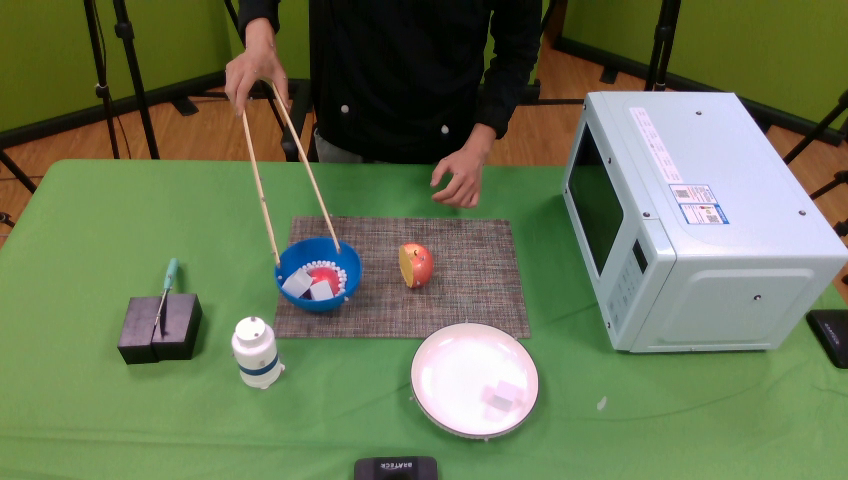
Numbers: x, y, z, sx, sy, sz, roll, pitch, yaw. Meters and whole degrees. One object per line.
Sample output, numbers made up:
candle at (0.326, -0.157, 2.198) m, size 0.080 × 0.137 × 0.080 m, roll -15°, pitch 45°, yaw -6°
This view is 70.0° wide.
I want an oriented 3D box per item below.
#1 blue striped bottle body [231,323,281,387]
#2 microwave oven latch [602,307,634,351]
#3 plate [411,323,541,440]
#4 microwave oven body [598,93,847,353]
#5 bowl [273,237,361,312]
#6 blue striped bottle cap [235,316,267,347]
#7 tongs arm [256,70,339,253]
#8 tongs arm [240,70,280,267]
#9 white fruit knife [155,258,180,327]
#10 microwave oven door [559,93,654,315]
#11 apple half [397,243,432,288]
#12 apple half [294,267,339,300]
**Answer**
blue striped bottle body at (-0.262, 0.171, 0.944) m, size 0.063 × 0.121 × 0.062 m, roll 2°, pitch 46°, yaw -2°
microwave oven latch at (0.332, 0.153, 1.043) m, size 0.030 × 0.029 × 0.078 m, roll -1°, pitch 45°, yaw -4°
plate at (0.082, 0.228, 0.976) m, size 0.208 × 0.039 × 0.206 m, roll 2°, pitch 45°, yaw -2°
microwave oven body at (0.475, -0.041, 1.109) m, size 0.326 × 0.261 × 0.438 m, roll -1°, pitch 45°, yaw -4°
bowl at (-0.186, 0.074, 1.070) m, size 0.151 × 0.077 × 0.150 m, roll 3°, pitch 46°, yaw -2°
blue striped bottle cap at (-0.259, 0.136, 0.907) m, size 0.044 × 0.021 × 0.044 m, roll 2°, pitch 43°, yaw -2°
tongs arm at (-0.221, -0.145, 1.058) m, size 0.028 × 0.028 × 0.385 m, roll -21°, pitch 70°, yaw -12°
tongs arm at (-0.273, -0.132, 1.043) m, size 0.051 × 0.026 × 0.383 m, roll -14°, pitch 68°, yaw -14°
white fruit knife at (-0.440, 0.085, 1.037) m, size 0.016 × 0.027 × 0.206 m, roll 9°, pitch 26°, yaw -18°
microwave oven door at (0.327, -0.074, 1.123) m, size 0.039 × 0.245 × 0.353 m, roll -1°, pitch 46°, yaw -5°
apple half at (-0.013, 0.047, 1.115) m, size 0.053 × 0.075 × 0.080 m, roll -10°, pitch 44°, yaw -21°
apple half at (-0.188, 0.072, 1.067) m, size 0.081 × 0.033 × 0.081 m, roll 4°, pitch 47°, yaw -4°
